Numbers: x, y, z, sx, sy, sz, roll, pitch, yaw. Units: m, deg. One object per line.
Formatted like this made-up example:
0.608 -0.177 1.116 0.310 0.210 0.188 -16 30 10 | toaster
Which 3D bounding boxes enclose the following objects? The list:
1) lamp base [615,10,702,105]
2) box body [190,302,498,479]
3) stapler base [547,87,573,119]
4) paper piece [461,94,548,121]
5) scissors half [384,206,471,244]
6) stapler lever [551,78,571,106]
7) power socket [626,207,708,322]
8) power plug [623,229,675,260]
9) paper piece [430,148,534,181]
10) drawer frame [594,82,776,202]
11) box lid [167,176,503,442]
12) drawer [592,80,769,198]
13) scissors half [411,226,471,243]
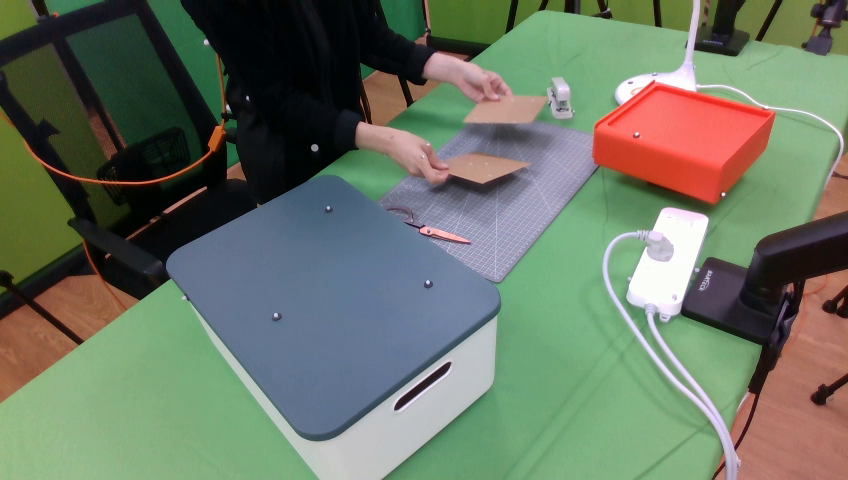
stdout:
0.484 -0.364 1.211 0.180 0.181 0.159 -15 41 -14 | lamp base
-0.110 0.103 0.761 0.255 0.161 0.361 -33 46 -27 | box body
0.289 -0.299 1.286 0.041 0.024 0.130 -1 39 3 | stapler base
0.158 -0.256 1.164 0.137 0.009 0.136 7 32 25 | paper piece
0.001 -0.024 1.005 0.174 0.013 0.040 22 55 25 | scissors half
0.286 -0.320 1.270 0.027 0.040 0.117 -1 38 3 | stapler lever
0.360 0.026 0.886 0.072 0.033 0.227 16 46 26 | power socket
0.327 0.007 0.878 0.072 0.053 0.035 25 51 33 | power plug
0.103 -0.138 1.081 0.136 0.004 0.134 -15 33 -38 | paper piece
0.428 -0.171 1.006 0.211 0.083 0.202 29 51 36 | drawer frame
-0.119 0.047 0.714 0.264 0.015 0.368 -32 47 -27 | box lid
0.422 -0.174 1.008 0.210 0.073 0.195 30 52 35 | drawer
-0.007 -0.010 0.992 0.174 0.013 0.040 8 45 15 | scissors half
